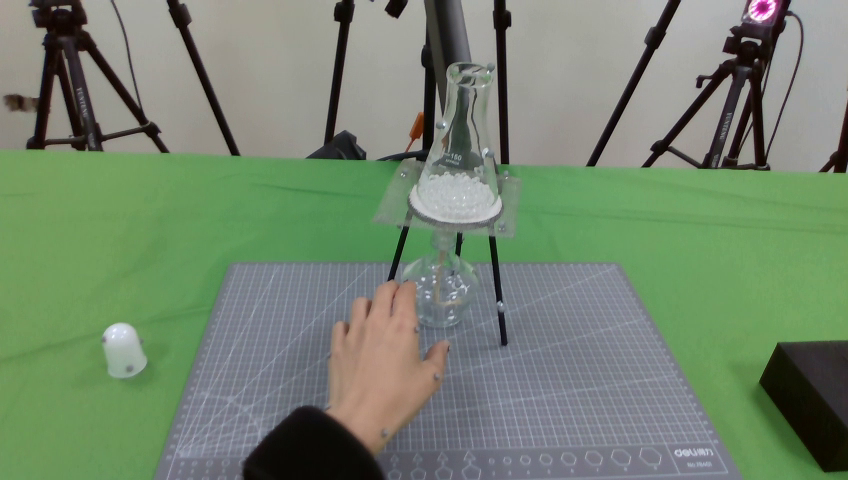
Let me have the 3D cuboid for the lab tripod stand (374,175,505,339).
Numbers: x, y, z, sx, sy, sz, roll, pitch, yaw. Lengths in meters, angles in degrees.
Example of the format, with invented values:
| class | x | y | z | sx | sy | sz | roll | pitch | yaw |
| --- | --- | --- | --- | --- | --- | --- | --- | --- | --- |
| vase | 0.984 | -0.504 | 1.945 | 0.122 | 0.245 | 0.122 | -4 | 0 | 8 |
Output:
| class | x | y | z | sx | sy | sz | roll | pitch | yaw |
| --- | --- | --- | --- | --- | --- | --- | --- | --- | --- |
| lab tripod stand | 0.027 | 0.015 | 0.589 | 0.148 | 0.132 | 0.147 | 4 | 33 | -3 |

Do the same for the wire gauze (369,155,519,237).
| class | x | y | z | sx | sy | sz | roll | pitch | yaw |
| --- | --- | --- | --- | --- | --- | --- | --- | --- | --- |
| wire gauze | 0.024 | -0.040 | 0.553 | 0.121 | 0.011 | 0.124 | 8 | 36 | 7 |

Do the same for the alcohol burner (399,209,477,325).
| class | x | y | z | sx | sy | sz | roll | pitch | yaw |
| --- | --- | --- | --- | --- | --- | --- | --- | --- | --- |
| alcohol burner | 0.015 | 0.023 | 0.594 | 0.078 | 0.120 | 0.077 | 2 | 32 | -1 |

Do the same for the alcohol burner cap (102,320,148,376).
| class | x | y | z | sx | sy | sz | roll | pitch | yaw |
| --- | --- | --- | --- | --- | --- | --- | --- | --- | --- |
| alcohol burner cap | -0.264 | 0.092 | 0.532 | 0.034 | 0.048 | 0.033 | 2 | 33 | -1 |

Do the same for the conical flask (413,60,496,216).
| class | x | y | z | sx | sy | sz | roll | pitch | yaw |
| --- | --- | --- | --- | --- | --- | --- | --- | --- | --- |
| conical flask | 0.031 | -0.088 | 0.517 | 0.075 | 0.123 | 0.074 | 3 | 34 | -2 |
